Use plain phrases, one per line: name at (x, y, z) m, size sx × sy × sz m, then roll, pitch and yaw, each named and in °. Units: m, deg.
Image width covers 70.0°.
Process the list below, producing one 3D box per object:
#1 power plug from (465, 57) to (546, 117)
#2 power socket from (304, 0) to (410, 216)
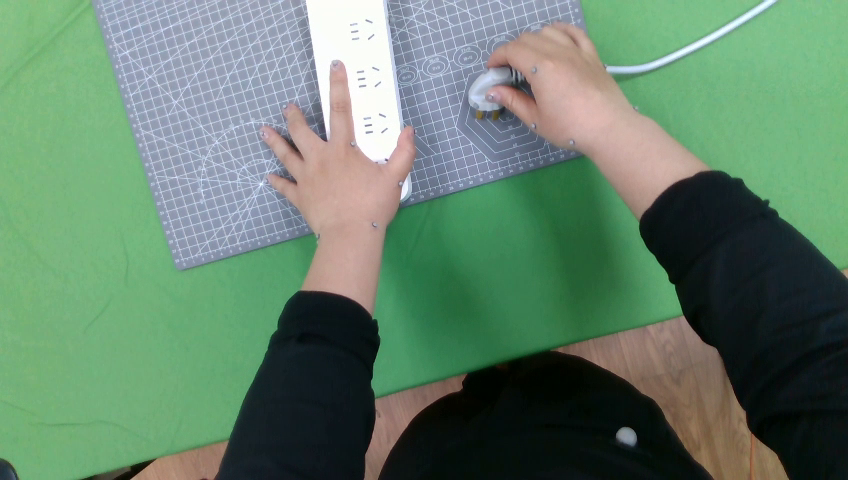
power plug at (0.073, -0.135, 0.550) m, size 0.072 × 0.053 × 0.035 m, roll 2°, pitch 52°, yaw 12°
power socket at (-0.062, -0.136, 0.569) m, size 0.072 × 0.032 × 0.227 m, roll -7°, pitch 95°, yaw 4°
